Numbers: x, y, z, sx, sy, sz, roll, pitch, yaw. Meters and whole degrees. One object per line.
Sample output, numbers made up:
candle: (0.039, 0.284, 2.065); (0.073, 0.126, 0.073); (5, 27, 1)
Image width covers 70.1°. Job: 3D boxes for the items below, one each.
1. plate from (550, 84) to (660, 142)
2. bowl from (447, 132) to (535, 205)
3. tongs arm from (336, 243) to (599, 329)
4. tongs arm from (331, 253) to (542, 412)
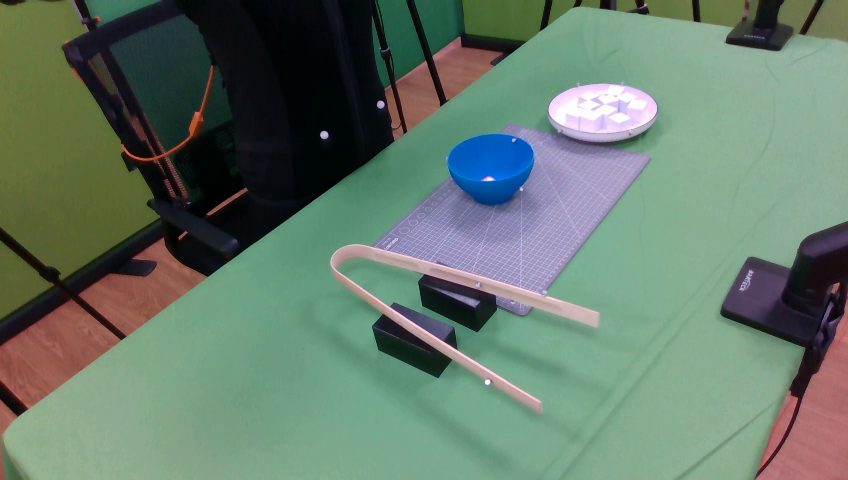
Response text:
plate: (0.355, -0.246, 1.195); (0.207, 0.039, 0.206); (-5, 39, 5)
bowl: (0.119, -0.115, 1.051); (0.151, 0.077, 0.150); (-6, 40, 5)
tongs arm: (0.043, 0.063, 0.823); (0.382, 0.026, 0.051); (18, 47, 28)
tongs arm: (-0.005, 0.107, 0.777); (0.384, 0.028, 0.028); (29, 57, 37)
